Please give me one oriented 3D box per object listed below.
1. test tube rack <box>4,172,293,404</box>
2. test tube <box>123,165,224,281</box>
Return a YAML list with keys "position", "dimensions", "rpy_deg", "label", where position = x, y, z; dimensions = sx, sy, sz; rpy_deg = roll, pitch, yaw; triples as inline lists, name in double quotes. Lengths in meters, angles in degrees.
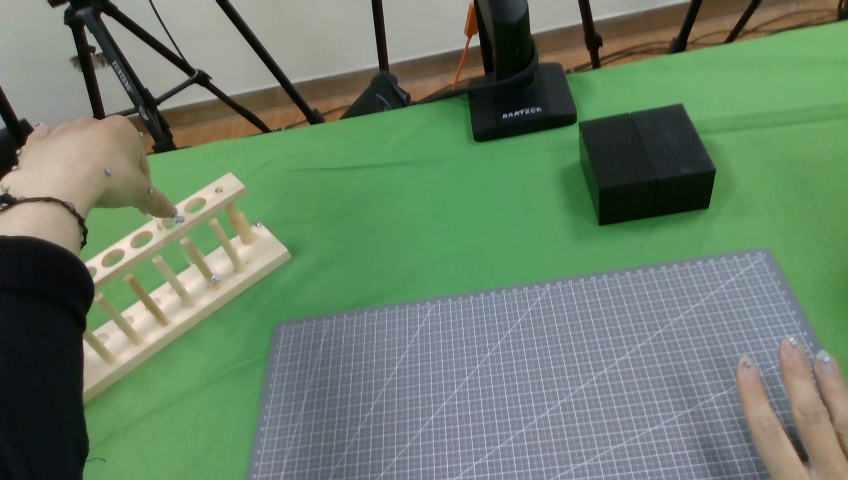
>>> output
- position: [-0.258, 0.042, 0.592]
  dimensions: [0.242, 0.086, 0.066]
  rpy_deg: [-37, 49, -18]
  label: "test tube rack"
- position: [-0.226, -0.011, 0.554]
  dimensions: [0.017, 0.152, 0.017]
  rpy_deg: [-9, 48, 11]
  label: "test tube"
